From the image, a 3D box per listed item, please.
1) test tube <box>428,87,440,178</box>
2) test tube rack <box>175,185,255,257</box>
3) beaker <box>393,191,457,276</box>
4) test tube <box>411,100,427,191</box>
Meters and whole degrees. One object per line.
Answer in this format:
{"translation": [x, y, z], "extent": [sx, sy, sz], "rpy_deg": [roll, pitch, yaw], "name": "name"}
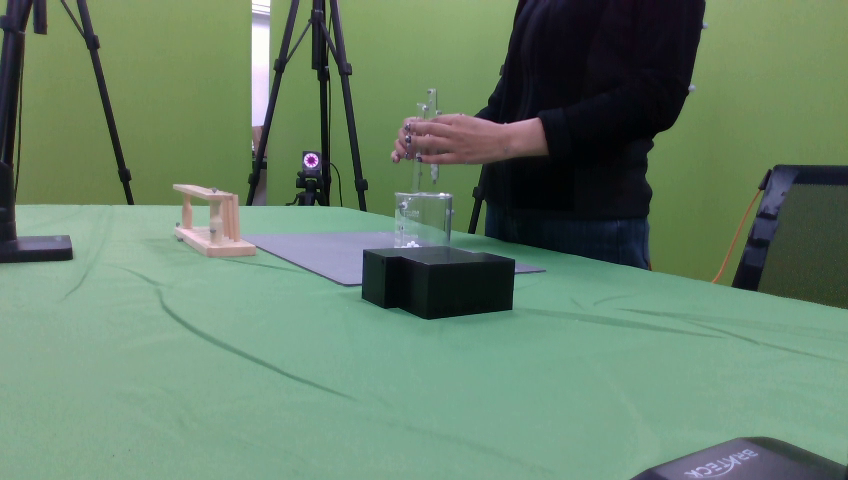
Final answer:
{"translation": [0.016, -0.178, 1.004], "extent": [0.017, 0.150, 0.017], "rpy_deg": [-2, 8, 1], "name": "test tube"}
{"translation": [-0.324, -0.035, 0.922], "extent": [0.067, 0.085, 0.241], "rpy_deg": [-2, 9, -31], "name": "test tube rack"}
{"translation": [-0.003, -0.010, 0.749], "extent": [0.074, 0.100, 0.083], "rpy_deg": [-3, 8, -40], "name": "beaker"}
{"translation": [-0.009, -0.154, 0.996], "extent": [0.017, 0.150, 0.017], "rpy_deg": [5, 21, -1], "name": "test tube"}
